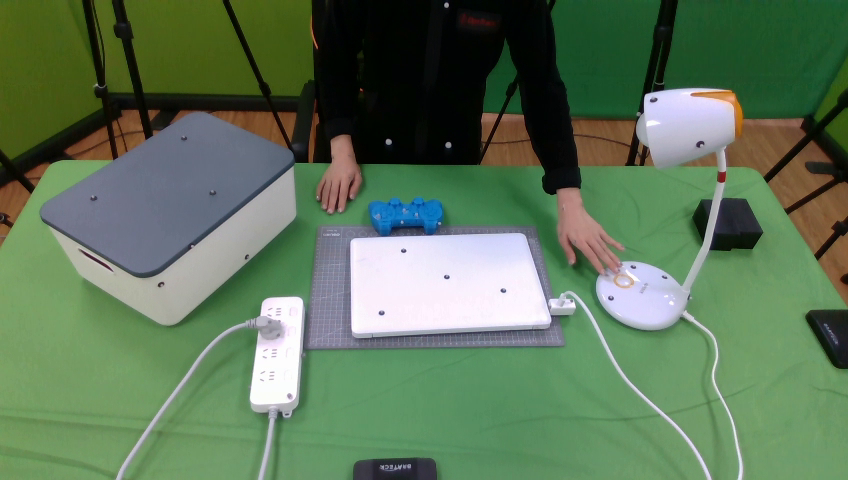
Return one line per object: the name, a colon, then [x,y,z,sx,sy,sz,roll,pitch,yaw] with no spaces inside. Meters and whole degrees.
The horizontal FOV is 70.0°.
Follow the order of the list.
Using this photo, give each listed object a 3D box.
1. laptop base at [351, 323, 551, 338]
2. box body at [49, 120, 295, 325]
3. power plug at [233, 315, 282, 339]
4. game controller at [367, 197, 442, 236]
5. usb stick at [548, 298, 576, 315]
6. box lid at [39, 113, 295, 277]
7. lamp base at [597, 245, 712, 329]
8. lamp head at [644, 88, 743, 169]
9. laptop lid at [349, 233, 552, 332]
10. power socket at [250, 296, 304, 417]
laptop base: [0.040,0.081,1.125,0.355,0.023,0.234,-2,43,-6]
box body: [-0.437,-0.046,1.110,0.253,0.161,0.363,24,49,18]
power plug: [-0.271,0.144,0.999,0.072,0.053,0.035,6,46,3]
game controller: [-0.037,-0.057,1.231,0.155,0.052,0.096,-2,49,-5]
usb stick: [0.240,0.120,1.086,0.059,0.027,0.021,-2,51,-2]
box lid: [-0.435,-0.096,1.056,0.262,0.015,0.370,25,48,18]
lamp base: [0.418,0.051,1.072,0.179,0.181,0.160,22,49,13]
lamp head: [0.380,-0.161,0.851,0.122,0.113,0.112,-4,42,25]
laptop lid: [0.040,0.071,1.119,0.357,0.013,0.240,-1,44,-5]
power socket: [-0.239,0.182,0.996,0.072,0.033,0.225,-2,47,-5]
